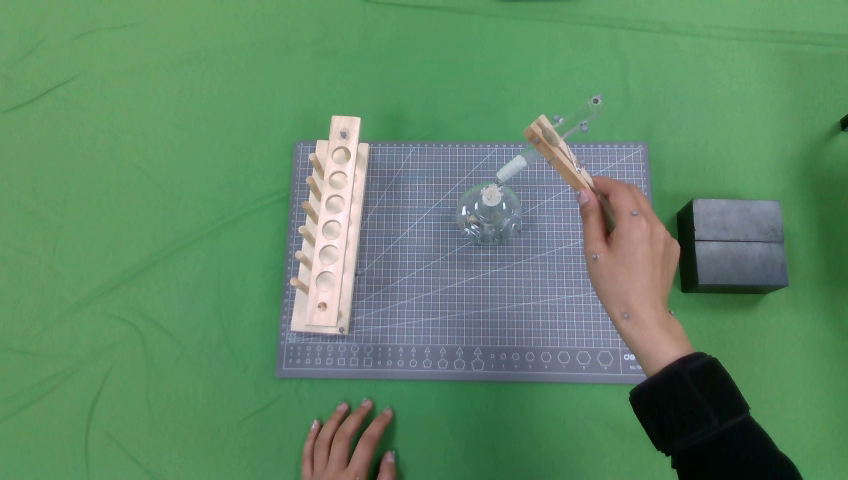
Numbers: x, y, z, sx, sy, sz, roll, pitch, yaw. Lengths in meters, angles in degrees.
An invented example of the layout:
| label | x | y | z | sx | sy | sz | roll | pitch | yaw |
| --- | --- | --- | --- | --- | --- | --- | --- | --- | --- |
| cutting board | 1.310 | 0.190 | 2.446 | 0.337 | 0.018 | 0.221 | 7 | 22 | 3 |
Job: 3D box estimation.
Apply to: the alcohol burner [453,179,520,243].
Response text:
| label | x | y | z | sx | sy | sz | roll | pitch | yaw |
| --- | --- | --- | --- | --- | --- | --- | --- | --- | --- |
| alcohol burner | 0.072 | -0.038 | 0.691 | 0.078 | 0.119 | 0.077 | 0 | 77 | 2 |

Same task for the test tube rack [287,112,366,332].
| label | x | y | z | sx | sy | sz | roll | pitch | yaw |
| --- | --- | --- | --- | --- | --- | --- | --- | --- | --- |
| test tube rack | -0.117 | -0.020 | 0.704 | 0.067 | 0.085 | 0.241 | 4 | 76 | 2 |

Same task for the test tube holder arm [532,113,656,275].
| label | x | y | z | sx | sy | sz | roll | pitch | yaw |
| --- | --- | --- | --- | --- | --- | --- | --- | --- | --- |
| test tube holder arm | 0.154 | -0.041 | 0.551 | 0.013 | 0.015 | 0.178 | -40 | 93 | -26 |

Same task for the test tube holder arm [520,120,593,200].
| label | x | y | z | sx | sy | sz | roll | pitch | yaw |
| --- | --- | --- | --- | --- | --- | --- | --- | --- | --- |
| test tube holder arm | 0.121 | -0.071 | 0.545 | 0.088 | 0.015 | 0.010 | 45 | 63 | -6 |

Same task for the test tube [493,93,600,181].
| label | x | y | z | sx | sy | sz | roll | pitch | yaw |
| --- | --- | --- | --- | --- | --- | --- | --- | --- | --- |
| test tube | 0.105 | -0.089 | 0.551 | 0.017 | 0.150 | 0.017 | 9 | 68 | -24 |
